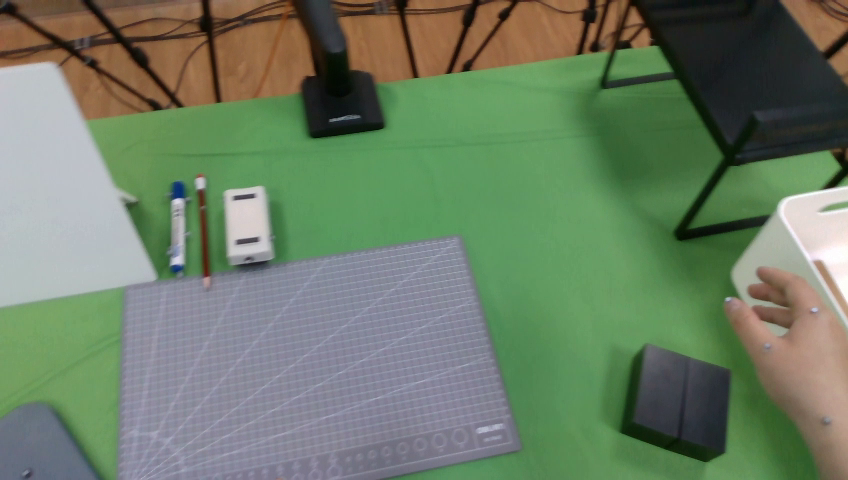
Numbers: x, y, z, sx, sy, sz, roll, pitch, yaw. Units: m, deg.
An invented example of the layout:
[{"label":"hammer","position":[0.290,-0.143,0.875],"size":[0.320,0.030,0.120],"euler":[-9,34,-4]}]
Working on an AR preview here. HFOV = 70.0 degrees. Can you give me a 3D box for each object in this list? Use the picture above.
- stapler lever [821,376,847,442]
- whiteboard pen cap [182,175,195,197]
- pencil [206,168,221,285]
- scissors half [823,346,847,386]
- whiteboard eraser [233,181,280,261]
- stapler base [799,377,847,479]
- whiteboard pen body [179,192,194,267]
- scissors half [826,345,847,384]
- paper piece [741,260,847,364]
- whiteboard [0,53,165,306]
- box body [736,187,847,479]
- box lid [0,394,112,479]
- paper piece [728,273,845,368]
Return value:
[{"label":"stapler lever","position":[0.491,0.211,0.684],"size":[0.027,0.040,0.117],"euler":[-12,65,-6]},{"label":"whiteboard pen cap","position":[-0.335,-0.075,0.861],"size":[0.018,0.018,0.033],"euler":[-10,59,-8]},{"label":"pencil","position":[-0.290,-0.022,0.836],"size":[0.012,0.012,0.192],"euler":[-11,60,-9]},{"label":"scissors half","position":[0.545,0.201,0.729],"size":[0.040,0.013,0.173],"euler":[-16,57,-21]},{"label":"whiteboard eraser","position":[-0.228,-0.026,0.823],"size":[0.056,0.042,0.111],"euler":[-10,60,-7]},{"label":"stapler base","position":[0.490,0.222,0.708],"size":[0.041,0.024,0.129],"euler":[-12,64,-6]},{"label":"whiteboard pen body","position":[-0.326,-0.026,0.832],"size":[0.017,0.017,0.139],"euler":[-8,60,-7]},{"label":"scissors half","position":[0.524,0.205,0.724],"size":[0.040,0.013,0.173],"euler":[-1,54,-4]},{"label":"paper piece","position":[0.503,0.090,0.792],"size":[0.135,0.004,0.134],"euler":[-6,59,-8]},{"label":"whiteboard","position":[-0.462,-0.092,0.734],"size":[0.217,0.308,0.142],"euler":[-9,40,-7]},{"label":"box body","position":[0.565,0.125,0.694],"size":[0.254,0.161,0.360],"euler":[-9,60,-7]},{"label":"box lid","position":[-0.416,0.358,0.602],"size":[0.263,0.015,0.368],"euler":[-38,68,-22]},{"label":"paper piece","position":[0.504,0.098,0.810],"size":[0.136,0.009,0.136],"euler":[-15,52,9]}]
